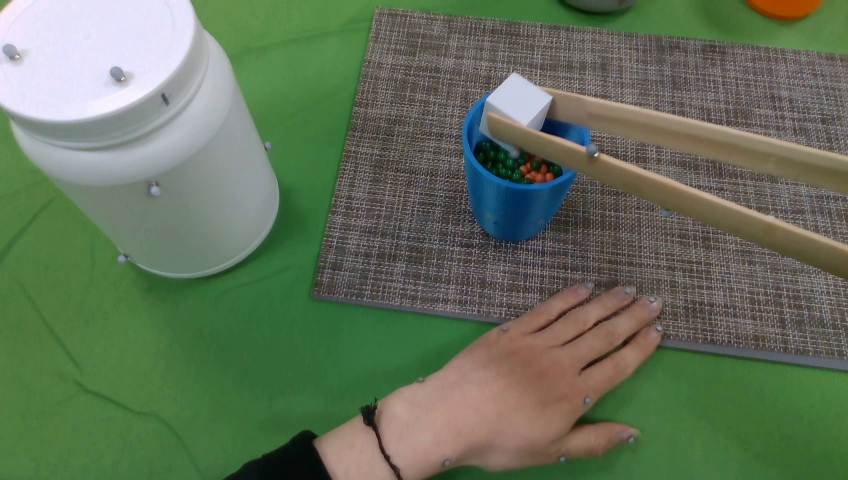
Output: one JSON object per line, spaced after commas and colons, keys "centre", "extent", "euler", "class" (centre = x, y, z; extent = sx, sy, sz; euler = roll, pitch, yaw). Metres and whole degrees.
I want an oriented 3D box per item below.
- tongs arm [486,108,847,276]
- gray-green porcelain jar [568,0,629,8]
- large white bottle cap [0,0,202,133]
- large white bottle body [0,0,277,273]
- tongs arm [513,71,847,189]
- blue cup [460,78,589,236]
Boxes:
{"centre": [0.200, -0.009, 0.295], "extent": [0.381, 0.027, 0.050], "euler": [29, 68, 28], "class": "tongs arm"}
{"centre": [0.168, -0.288, 0.550], "extent": [0.106, 0.127, 0.105], "euler": [0, 64, 0], "class": "gray-green porcelain jar"}
{"centre": [-0.182, -0.109, 0.331], "extent": [0.115, 0.018, 0.114], "euler": [0, 64, 0], "class": "large white bottle cap"}
{"centre": [-0.181, -0.070, 0.406], "extent": [0.130, 0.186, 0.129], "euler": [0, 64, -1], "class": "large white bottle body"}
{"centre": [0.213, -0.027, 0.303], "extent": [0.384, 0.028, 0.028], "euler": [25, 63, 27], "class": "tongs arm"}
{"centre": [0.068, -0.051, 0.443], "extent": [0.092, 0.101, 0.092], "euler": [-1, 64, 2], "class": "blue cup"}
